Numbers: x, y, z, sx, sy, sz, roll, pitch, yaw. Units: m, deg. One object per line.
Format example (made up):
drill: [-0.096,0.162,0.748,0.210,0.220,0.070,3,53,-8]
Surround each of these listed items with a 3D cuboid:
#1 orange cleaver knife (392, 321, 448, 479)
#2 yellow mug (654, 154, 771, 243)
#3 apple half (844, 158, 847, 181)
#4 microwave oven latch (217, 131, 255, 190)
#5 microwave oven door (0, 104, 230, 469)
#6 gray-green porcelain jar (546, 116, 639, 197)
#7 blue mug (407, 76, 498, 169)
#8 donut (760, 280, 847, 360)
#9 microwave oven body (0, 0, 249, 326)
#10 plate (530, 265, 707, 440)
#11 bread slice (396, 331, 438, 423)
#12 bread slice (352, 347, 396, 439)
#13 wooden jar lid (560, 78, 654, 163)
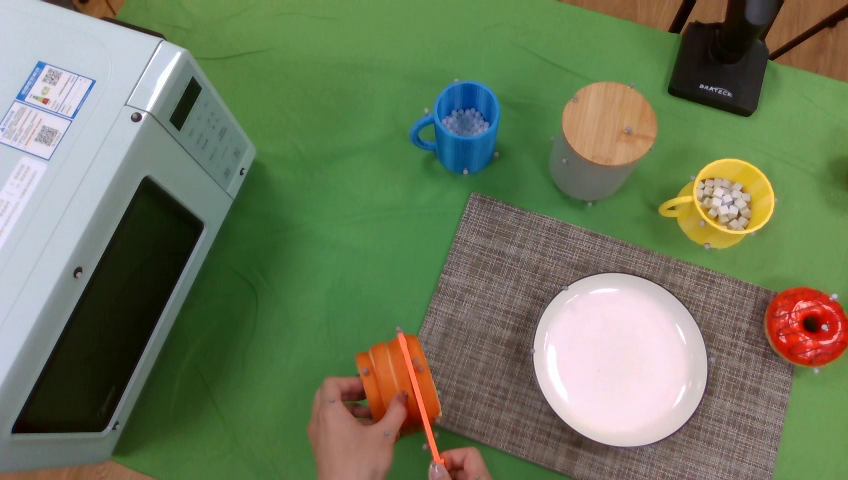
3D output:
orange cleaver knife: [0.001,0.181,0.606,0.012,0.077,0.210,-17,81,-5]
yellow mug: [0.362,-0.050,0.775,0.131,0.064,0.099,-4,74,1]
apple half: [0.564,-0.088,0.775,0.033,0.081,0.081,-12,74,-6]
microwave oven latch: [-0.253,-0.108,0.802,0.030,0.029,0.079,23,77,7]
microwave oven door: [-0.337,0.062,0.652,0.039,0.245,0.354,19,75,7]
gray-green porcelain jar: [0.214,-0.119,0.767,0.106,0.127,0.105,0,74,2]
blue mug: [0.035,-0.149,0.790,0.116,0.106,0.082,-6,74,0]
donut: [0.462,0.098,0.738,0.099,0.048,0.098,0,75,2]
microwave oven body: [-0.457,-0.023,0.684,0.325,0.261,0.440,19,76,7]
plate: [0.231,0.135,0.738,0.207,0.039,0.206,0,75,2]
bread slice: [-0.008,0.155,0.691,0.019,0.132,0.104,-17,75,-9]
bread slice: [-0.057,0.171,0.691,0.018,0.135,0.106,-20,71,-6]
wooden jar lid: [0.212,-0.137,0.707,0.108,0.021,0.107,0,72,1]
